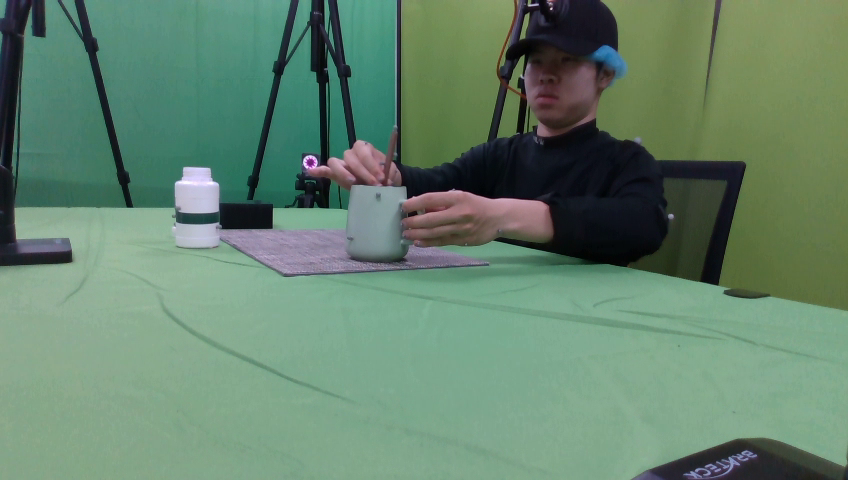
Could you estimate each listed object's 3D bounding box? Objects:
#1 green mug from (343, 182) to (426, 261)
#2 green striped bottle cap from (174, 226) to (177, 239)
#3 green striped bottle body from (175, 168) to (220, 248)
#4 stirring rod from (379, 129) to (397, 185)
[{"bbox_3d":[-0.053,-0.026,0.848,0.125,0.105,0.093,6,8,29],"label":"green mug"},{"bbox_3d":[-0.404,-0.015,1.036,0.044,0.020,0.044,-1,10,0],"label":"green striped bottle cap"},{"bbox_3d":[-0.345,-0.050,0.924,0.063,0.119,0.063,2,7,0],"label":"green striped bottle body"},{"bbox_3d":[-0.059,-0.066,0.832,0.006,0.176,0.014,9,3,-38],"label":"stirring rod"}]
